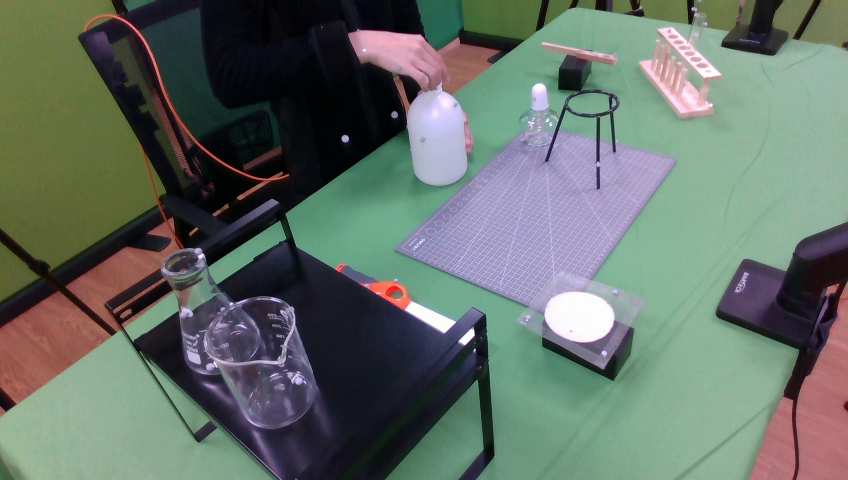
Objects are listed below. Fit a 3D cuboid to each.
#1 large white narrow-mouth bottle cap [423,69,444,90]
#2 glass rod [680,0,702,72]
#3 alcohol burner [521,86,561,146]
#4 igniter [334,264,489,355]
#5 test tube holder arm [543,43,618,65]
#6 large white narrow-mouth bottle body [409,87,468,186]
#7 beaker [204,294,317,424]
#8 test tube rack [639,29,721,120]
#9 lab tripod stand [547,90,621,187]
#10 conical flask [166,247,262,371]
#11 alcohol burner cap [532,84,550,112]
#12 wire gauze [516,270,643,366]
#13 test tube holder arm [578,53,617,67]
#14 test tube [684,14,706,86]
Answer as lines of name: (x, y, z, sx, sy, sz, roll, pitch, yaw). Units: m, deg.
large white narrow-mouth bottle cap: (0.016, -0.271, 1.021, 0.038, 0.024, 0.037, -4, 40, 4)
glass rod: (0.542, -0.417, 1.233, 0.008, 0.200, 0.008, 1, 40, 0)
alcohol burner: (0.223, -0.241, 1.155, 0.078, 0.119, 0.077, -5, 43, 5)
igniter: (-0.030, 0.095, 0.871, 0.274, 0.025, 0.057, 22, 59, 31)
test tube holder arm: (0.344, -0.413, 1.340, 0.177, 0.015, 0.013, 25, 51, 31)
large white narrow-mouth bottle body: (0.024, -0.200, 1.082, 0.102, 0.195, 0.101, -4, 40, 4)
beaker: (-0.137, 0.110, 0.536, 0.083, 0.101, 0.074, 30, 53, 36)
test tube rack: (0.527, -0.351, 1.262, 0.067, 0.085, 0.241, -8, 40, 1)
lab tripod stand: (0.288, -0.184, 1.062, 0.148, 0.132, 0.147, -6, 41, 6)
conical flask: (-0.209, 0.064, 0.584, 0.075, 0.122, 0.075, -5, 40, 4)
alcohol burner cap: (0.218, -0.269, 1.133, 0.034, 0.048, 0.033, -8, 36, 7)
wire gauze: (0.200, 0.093, 0.777, 0.124, 0.011, 0.122, 23, 49, 32)
test tube holder arm: (0.376, -0.393, 1.314, 0.087, 0.015, 0.010, 26, 51, 32)
test tube: (0.540, -0.378, 1.215, 0.017, 0.151, 0.017, -2, 44, 3)
